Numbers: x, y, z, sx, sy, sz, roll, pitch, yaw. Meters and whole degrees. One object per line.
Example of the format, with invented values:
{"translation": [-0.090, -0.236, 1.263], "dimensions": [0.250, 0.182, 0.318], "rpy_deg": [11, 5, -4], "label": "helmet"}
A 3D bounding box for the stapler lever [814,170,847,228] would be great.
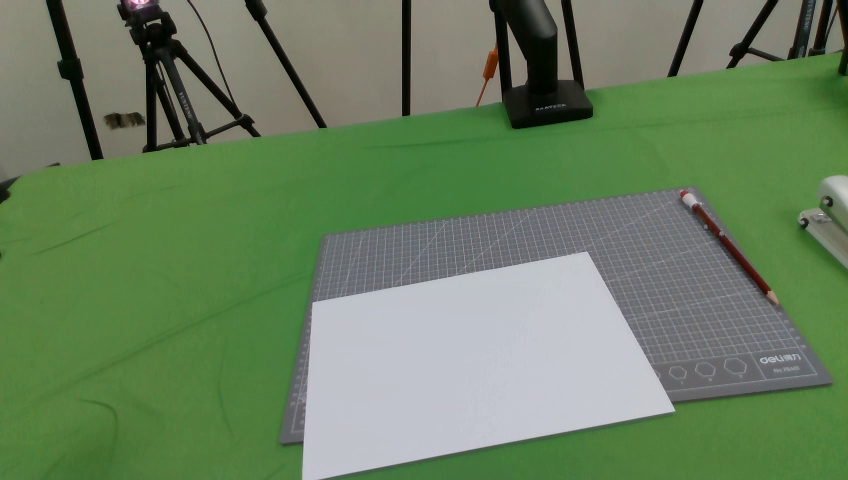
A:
{"translation": [0.414, -0.024, 0.571], "dimensions": [0.027, 0.040, 0.117], "rpy_deg": [-12, 39, 1], "label": "stapler lever"}

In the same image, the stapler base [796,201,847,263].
{"translation": [0.417, -0.005, 0.588], "dimensions": [0.041, 0.025, 0.129], "rpy_deg": [-12, 39, 1], "label": "stapler base"}

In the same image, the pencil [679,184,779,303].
{"translation": [0.307, -0.002, 0.617], "dimensions": [0.012, 0.012, 0.192], "rpy_deg": [-10, 38, 0], "label": "pencil"}
